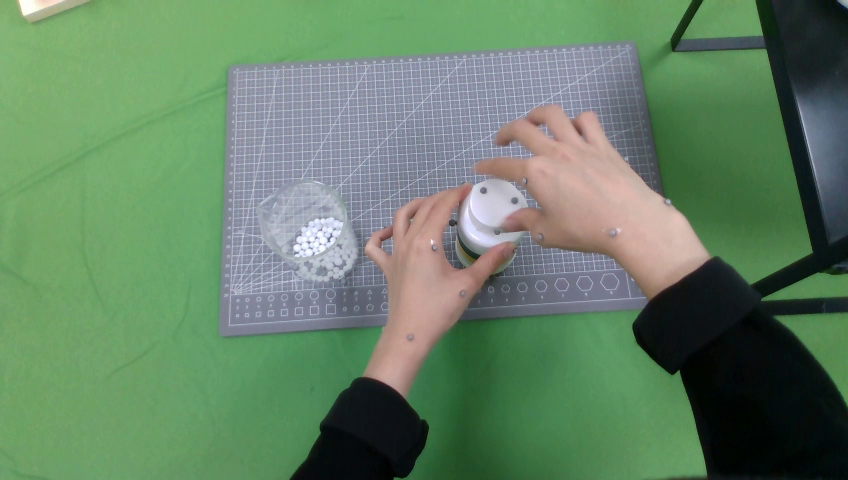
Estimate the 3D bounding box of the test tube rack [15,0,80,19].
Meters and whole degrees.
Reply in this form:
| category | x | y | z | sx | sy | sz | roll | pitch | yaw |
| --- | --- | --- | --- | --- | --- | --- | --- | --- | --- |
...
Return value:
| category | x | y | z | sx | sy | sz | roll | pitch | yaw |
| --- | --- | --- | --- | --- | --- | --- | --- | --- | --- |
| test tube rack | -0.359 | -0.341 | 0.674 | 0.242 | 0.085 | 0.066 | -24 | 74 | -6 |

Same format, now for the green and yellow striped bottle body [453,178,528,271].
| category | x | y | z | sx | sy | sz | roll | pitch | yaw |
| --- | --- | --- | --- | --- | --- | --- | --- | --- | --- |
| green and yellow striped bottle body | 0.059 | -0.016 | 0.551 | 0.063 | 0.120 | 0.063 | 0 | 73 | 2 |

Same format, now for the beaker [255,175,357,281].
| category | x | y | z | sx | sy | sz | roll | pitch | yaw |
| --- | --- | --- | --- | --- | --- | --- | --- | --- | --- |
| beaker | -0.105 | -0.007 | 0.561 | 0.084 | 0.101 | 0.073 | 16 | 73 | 7 |

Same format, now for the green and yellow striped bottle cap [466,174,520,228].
| category | x | y | z | sx | sy | sz | roll | pitch | yaw |
| --- | --- | --- | --- | --- | --- | --- | --- | --- | --- |
| green and yellow striped bottle cap | 0.058 | -0.032 | 0.502 | 0.045 | 0.020 | 0.045 | 0 | 81 | 2 |

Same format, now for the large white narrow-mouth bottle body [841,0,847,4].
| category | x | y | z | sx | sy | sz | roll | pitch | yaw |
| --- | --- | --- | --- | --- | --- | --- | --- | --- | --- |
| large white narrow-mouth bottle body | 0.356 | -0.245 | 0.393 | 0.102 | 0.196 | 0.101 | -1 | 72 | 3 |
